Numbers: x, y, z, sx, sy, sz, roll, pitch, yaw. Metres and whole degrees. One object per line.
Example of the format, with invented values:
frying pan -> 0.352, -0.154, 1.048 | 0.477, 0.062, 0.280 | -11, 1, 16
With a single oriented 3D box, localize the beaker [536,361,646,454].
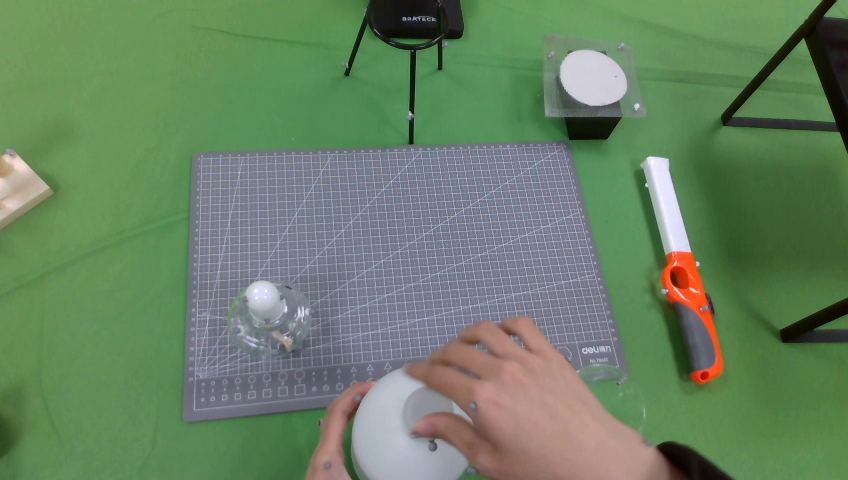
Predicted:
beaker -> 0.150, 0.161, 0.575 | 0.084, 0.101, 0.073 | 27, 65, 6

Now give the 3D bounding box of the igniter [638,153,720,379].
igniter -> 0.291, 0.022, 0.698 | 0.057, 0.025, 0.274 | 3, 65, -18

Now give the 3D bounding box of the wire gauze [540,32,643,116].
wire gauze -> 0.203, -0.203, 0.746 | 0.122, 0.011, 0.124 | 4, 65, -6

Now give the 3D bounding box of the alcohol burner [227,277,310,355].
alcohol burner -> -0.146, 0.065, 0.567 | 0.078, 0.120, 0.077 | 4, 63, -8

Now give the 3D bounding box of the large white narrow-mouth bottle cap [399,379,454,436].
large white narrow-mouth bottle cap -> 0.001, 0.116, 0.420 | 0.038, 0.024, 0.037 | 3, 64, -6

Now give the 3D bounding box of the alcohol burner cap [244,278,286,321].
alcohol burner cap -> -0.141, 0.051, 0.533 | 0.034, 0.048, 0.033 | 1, 71, -4

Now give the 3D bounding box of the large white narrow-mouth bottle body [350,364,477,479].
large white narrow-mouth bottle body -> -0.010, 0.157, 0.502 | 0.102, 0.196, 0.101 | 3, 64, -6

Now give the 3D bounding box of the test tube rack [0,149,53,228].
test tube rack -> -0.497, -0.013, 0.572 | 0.066, 0.085, 0.242 | 41, 67, 12

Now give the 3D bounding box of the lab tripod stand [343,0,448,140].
lab tripod stand -> -0.024, -0.213, 0.704 | 0.149, 0.132, 0.147 | 4, 66, -8
